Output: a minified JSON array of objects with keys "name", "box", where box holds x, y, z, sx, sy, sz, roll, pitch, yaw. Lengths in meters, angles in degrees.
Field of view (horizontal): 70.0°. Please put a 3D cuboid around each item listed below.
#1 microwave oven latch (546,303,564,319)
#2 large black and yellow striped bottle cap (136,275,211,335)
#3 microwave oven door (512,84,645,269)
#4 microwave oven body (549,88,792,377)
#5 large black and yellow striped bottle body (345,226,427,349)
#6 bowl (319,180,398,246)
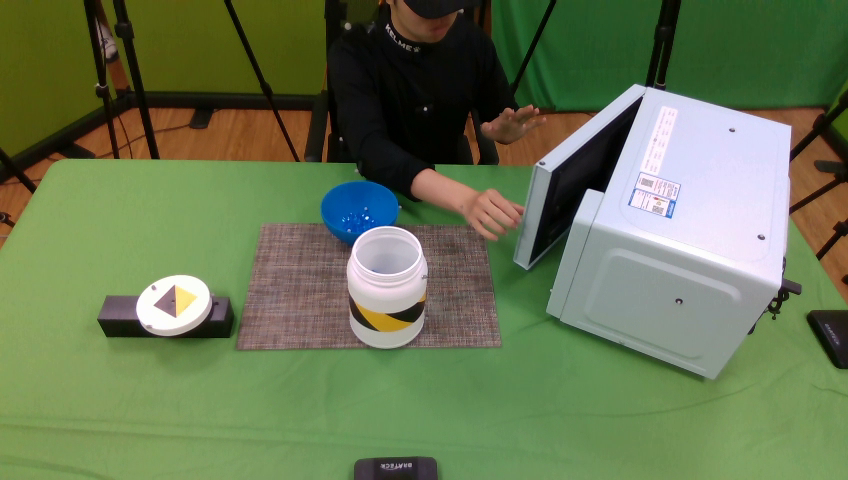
[{"name":"microwave oven latch","box":[0.242,0.102,1.081,0.030,0.029,0.079,21,48,17]},{"name":"large black and yellow striped bottle cap","box":[-0.412,0.105,0.999,0.115,0.019,0.114,3,46,-3]},{"name":"microwave oven door","box":[0.302,-0.127,1.165,0.039,0.245,0.355,34,53,25]},{"name":"microwave oven body","box":[0.456,-0.028,1.088,0.325,0.261,0.440,20,47,16]},{"name":"large black and yellow striped bottle body","box":[-0.062,0.078,0.998,0.131,0.185,0.130,2,46,-2]},{"name":"bowl","box":[-0.126,-0.039,1.180,0.151,0.077,0.150,3,46,-2]}]
